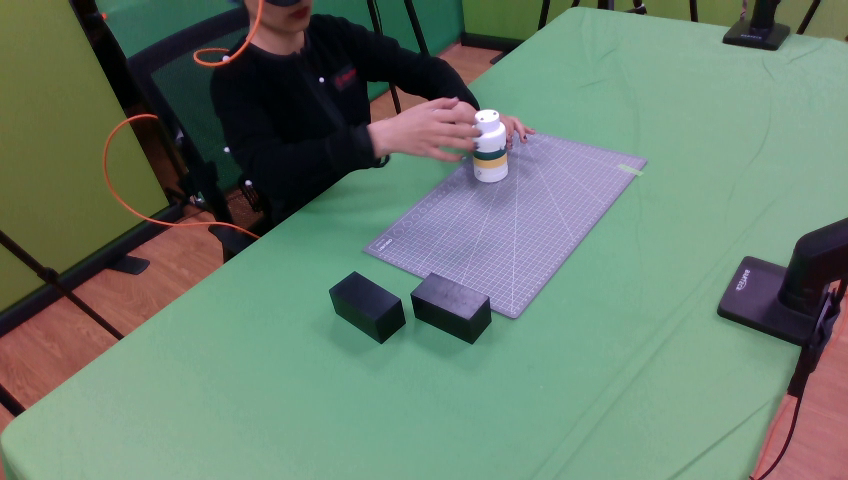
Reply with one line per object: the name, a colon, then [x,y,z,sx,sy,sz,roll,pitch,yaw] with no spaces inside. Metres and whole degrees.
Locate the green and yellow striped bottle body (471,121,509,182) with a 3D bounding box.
green and yellow striped bottle body: [0.117,-0.168,1.078,0.063,0.120,0.063,-6,40,5]

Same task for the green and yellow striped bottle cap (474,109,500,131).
green and yellow striped bottle cap: [0.109,-0.208,1.045,0.045,0.020,0.045,-4,41,4]
